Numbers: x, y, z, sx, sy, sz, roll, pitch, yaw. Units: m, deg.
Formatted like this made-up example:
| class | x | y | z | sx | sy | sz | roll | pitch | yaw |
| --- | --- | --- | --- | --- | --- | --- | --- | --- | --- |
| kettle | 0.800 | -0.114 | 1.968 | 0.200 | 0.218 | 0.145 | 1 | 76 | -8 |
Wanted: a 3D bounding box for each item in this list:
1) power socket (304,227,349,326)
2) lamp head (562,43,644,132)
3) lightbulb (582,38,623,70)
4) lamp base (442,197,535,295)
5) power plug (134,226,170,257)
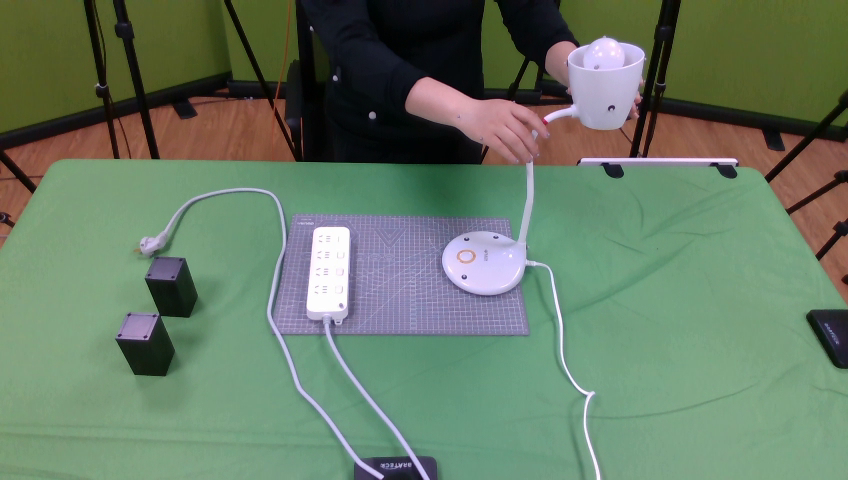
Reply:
| class | x | y | z | sx | sy | sz | roll | pitch | yaw |
| --- | --- | --- | --- | --- | --- | --- | --- | --- | --- |
| power socket | -0.177 | 0.059 | 1.115 | 0.072 | 0.033 | 0.225 | -1 | 46 | -4 |
| lamp head | 0.273 | -0.229 | 0.937 | 0.112 | 0.123 | 0.112 | -2 | 36 | 2 |
| lightbulb | 0.274 | -0.253 | 0.926 | 0.059 | 0.108 | 0.059 | -9 | 30 | 5 |
| lamp base | 0.130 | -0.012 | 1.105 | 0.179 | 0.181 | 0.159 | -1 | 46 | -9 |
| power plug | -0.515 | 0.005 | 1.152 | 0.052 | 0.035 | 0.072 | -6 | 24 | 7 |
